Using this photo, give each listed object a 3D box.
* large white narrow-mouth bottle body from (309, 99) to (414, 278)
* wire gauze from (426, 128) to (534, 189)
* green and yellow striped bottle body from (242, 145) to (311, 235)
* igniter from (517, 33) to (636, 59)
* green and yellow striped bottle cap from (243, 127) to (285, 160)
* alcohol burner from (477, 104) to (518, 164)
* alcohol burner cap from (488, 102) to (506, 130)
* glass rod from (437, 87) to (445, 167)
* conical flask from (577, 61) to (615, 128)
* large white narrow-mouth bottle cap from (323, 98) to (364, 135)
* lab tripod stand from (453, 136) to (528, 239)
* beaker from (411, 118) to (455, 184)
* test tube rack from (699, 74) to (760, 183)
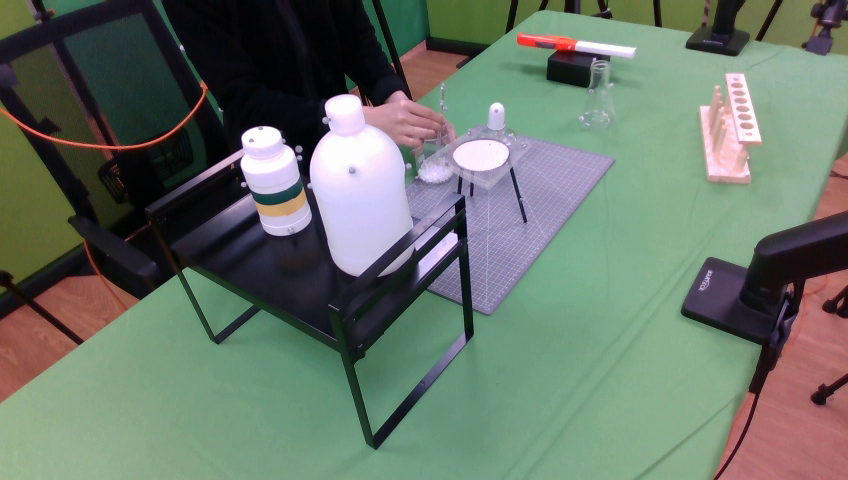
[{"bbox_3d":[-0.068,-0.057,0.644,0.102,0.195,0.101,-4,42,4],"label":"large white narrow-mouth bottle body"},{"bbox_3d":[0.086,-0.131,0.924,0.124,0.011,0.122,26,52,33],"label":"wire gauze"},{"bbox_3d":[-0.179,-0.069,0.730,0.063,0.120,0.063,-4,41,4],"label":"green and yellow striped bottle body"},{"bbox_3d":[0.336,-0.441,1.369,0.275,0.025,0.057,16,41,23],"label":"igniter"},{"bbox_3d":[-0.183,-0.111,0.694,0.045,0.020,0.045,-1,42,1],"label":"green and yellow striped bottle cap"},{"bbox_3d":[0.135,-0.200,1.117,0.078,0.119,0.077,-4,43,4],"label":"alcohol burner"},{"bbox_3d":[0.133,-0.227,1.092,0.034,0.048,0.033,-1,47,2],"label":"alcohol burner cap"},{"bbox_3d":[0.029,-0.189,1.043,0.008,0.200,0.008,1,58,0],"label":"glass rod"},{"bbox_3d":[0.343,-0.288,1.188,0.075,0.122,0.075,-4,41,4],"label":"conical flask"},{"bbox_3d":[-0.077,-0.120,0.585,0.038,0.024,0.037,-3,42,4],"label":"large white narrow-mouth bottle cap"},{"bbox_3d":[0.094,-0.086,0.974,0.148,0.132,0.147,-4,43,4],"label":"lab tripod stand"},{"bbox_3d":[0.020,-0.161,1.099,0.073,0.100,0.084,14,44,22],"label":"beaker"},{"bbox_3d":[0.547,-0.208,1.095,0.066,0.085,0.242,6,42,16],"label":"test tube rack"}]
